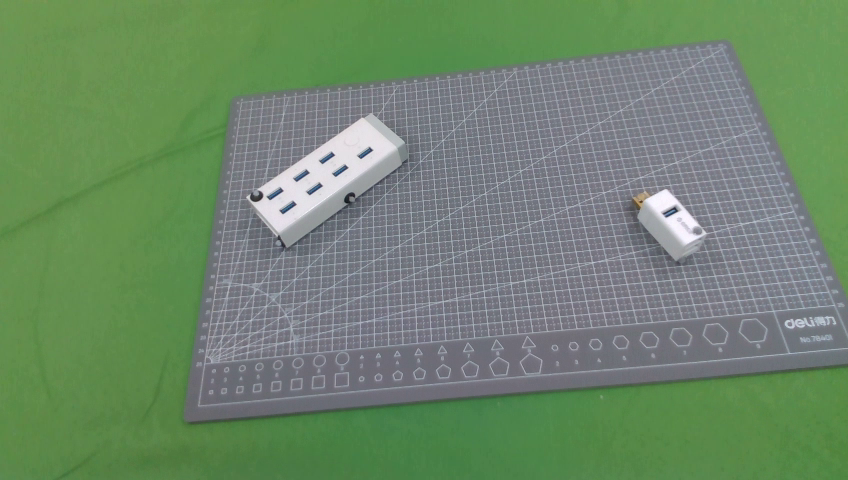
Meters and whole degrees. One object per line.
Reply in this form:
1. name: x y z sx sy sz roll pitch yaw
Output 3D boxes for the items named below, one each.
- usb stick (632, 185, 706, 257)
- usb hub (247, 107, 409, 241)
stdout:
1. usb stick: 0.172 -0.019 0.434 0.021 0.027 0.058 -27 58 -7
2. usb hub: -0.075 -0.055 0.485 0.125 0.025 0.049 -37 62 -15
